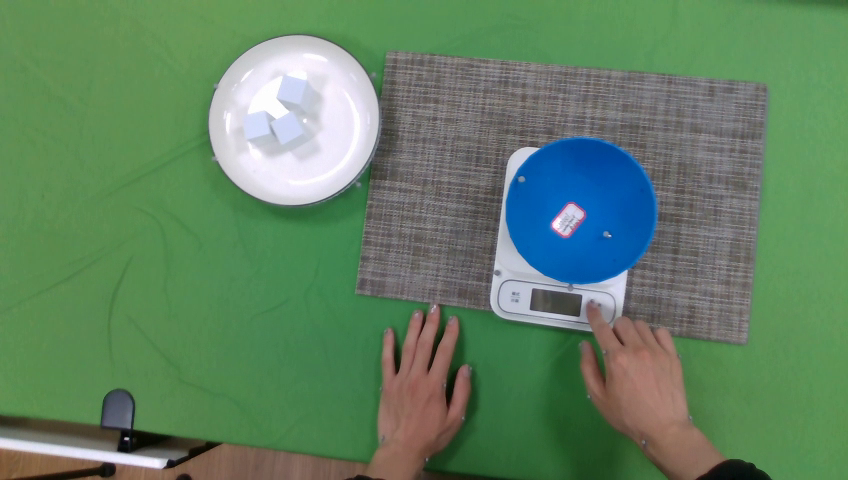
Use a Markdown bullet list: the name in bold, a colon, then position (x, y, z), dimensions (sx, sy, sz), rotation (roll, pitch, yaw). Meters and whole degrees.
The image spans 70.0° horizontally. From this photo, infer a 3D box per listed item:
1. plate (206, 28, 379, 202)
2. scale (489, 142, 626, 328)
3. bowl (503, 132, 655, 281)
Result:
- **plate**: position (-0.155, -0.147, 0.728), dimensions (0.207, 0.039, 0.207), rotation (0, 86, 4)
- **scale**: position (0.158, -0.006, 0.691), dimensions (0.148, 0.031, 0.200), rotation (7, 87, 5)
- **bowl**: position (0.156, -0.031, 0.640), dimensions (0.151, 0.077, 0.151), rotation (0, 86, 4)
